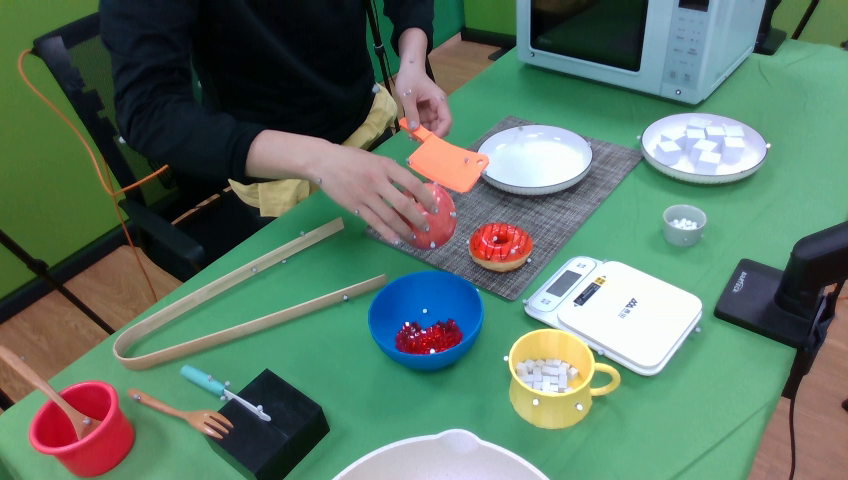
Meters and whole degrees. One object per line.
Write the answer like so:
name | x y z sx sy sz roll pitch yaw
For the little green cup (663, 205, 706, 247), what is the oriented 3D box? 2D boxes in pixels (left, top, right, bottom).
little green cup | 0.396 -0.021 0.926 0.061 0.039 0.061 -4 40 4

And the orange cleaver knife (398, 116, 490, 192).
orange cleaver knife | 0.011 -0.126 0.865 0.077 0.012 0.209 -40 46 -12

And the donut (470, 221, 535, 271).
donut | 0.119 0.009 0.923 0.099 0.048 0.098 -3 38 3

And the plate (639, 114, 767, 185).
plate | 0.489 -0.157 1.074 0.207 0.039 0.206 -4 40 4

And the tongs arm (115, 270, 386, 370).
tongs arm | -0.239 0.112 0.868 0.389 0.028 0.028 -19 47 -11

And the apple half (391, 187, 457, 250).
apple half | 0.001 -0.020 0.750 0.081 0.075 0.053 -11 41 7

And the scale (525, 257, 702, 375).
scale | 0.254 0.091 0.821 0.199 0.032 0.149 27 51 35

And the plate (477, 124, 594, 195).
plate | 0.199 -0.142 1.093 0.209 0.038 0.208 -4 40 4

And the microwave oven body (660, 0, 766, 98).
microwave oven body | 0.472 -0.513 1.317 0.438 0.261 0.327 26 51 34

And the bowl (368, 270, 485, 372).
bowl | 0.007 0.118 0.791 0.151 0.077 0.150 -4 40 4

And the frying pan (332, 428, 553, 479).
frying pan | -0.089 0.306 0.564 0.487 0.103 0.306 10 41 7

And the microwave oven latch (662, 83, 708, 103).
microwave oven latch | 0.517 -0.296 1.204 0.078 0.029 0.030 28 52 35

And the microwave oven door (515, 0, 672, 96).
microwave oven door | 0.343 -0.454 1.259 0.353 0.245 0.039 26 51 33

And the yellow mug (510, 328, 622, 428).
yellow mug | 0.168 0.164 0.722 0.130 0.064 0.099 0 40 8

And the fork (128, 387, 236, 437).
fork | -0.305 0.207 0.744 0.206 0.019 0.028 3 41 36

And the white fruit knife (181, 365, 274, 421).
white fruit knife | -0.245 0.188 0.747 0.205 0.027 0.016 9 40 40

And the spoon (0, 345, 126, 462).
spoon | -0.434 0.192 0.720 0.194 0.021 0.042 47 53 -7

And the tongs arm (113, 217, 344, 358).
tongs arm | -0.281 0.067 0.927 0.386 0.026 0.050 -29 46 -22

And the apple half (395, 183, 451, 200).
apple half | 0.000 -0.045 0.779 0.081 0.081 0.032 -6 44 2
